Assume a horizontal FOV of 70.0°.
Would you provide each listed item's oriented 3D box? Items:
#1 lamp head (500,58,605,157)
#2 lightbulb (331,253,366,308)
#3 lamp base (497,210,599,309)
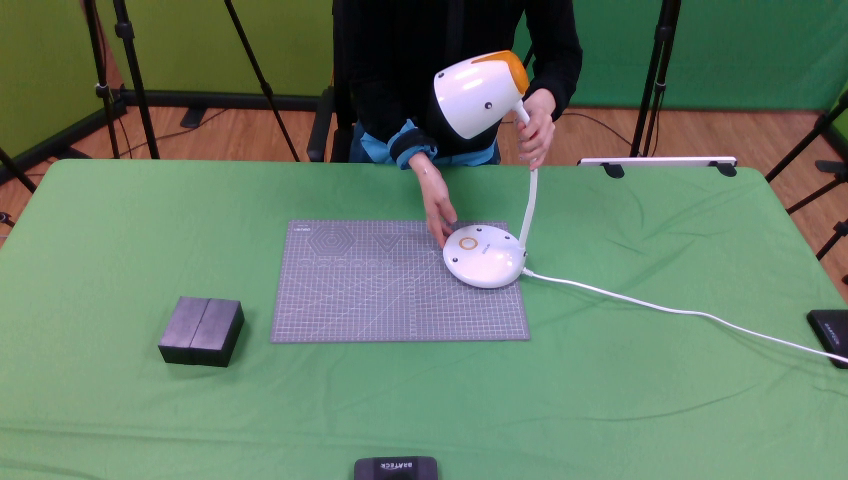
[{"bbox_3d":[0.183,-0.185,0.823,0.123,0.113,0.111,-25,40,26],"label":"lamp head"},{"bbox_3d":[-0.131,0.074,1.094,0.059,0.060,0.107,-15,65,-18],"label":"lightbulb"},{"bbox_3d":[0.225,0.007,1.044,0.179,0.181,0.159,6,47,1],"label":"lamp base"}]
